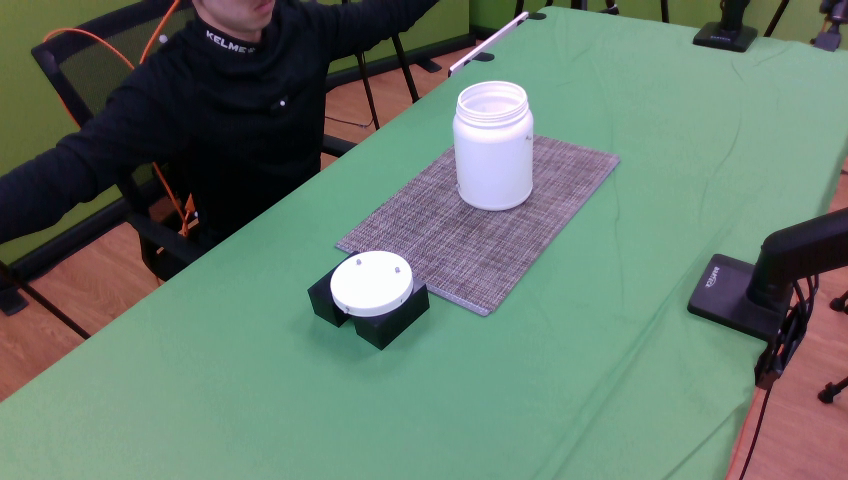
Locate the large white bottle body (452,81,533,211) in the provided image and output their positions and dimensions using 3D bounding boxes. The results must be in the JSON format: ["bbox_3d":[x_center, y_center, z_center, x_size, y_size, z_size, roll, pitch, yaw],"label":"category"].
[{"bbox_3d":[0.115,-0.156,1.002,0.130,0.185,0.130,-5,41,4],"label":"large white bottle body"}]

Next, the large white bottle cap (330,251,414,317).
[{"bbox_3d":[-0.072,0.059,0.836,0.115,0.018,0.114,-4,41,4],"label":"large white bottle cap"}]
